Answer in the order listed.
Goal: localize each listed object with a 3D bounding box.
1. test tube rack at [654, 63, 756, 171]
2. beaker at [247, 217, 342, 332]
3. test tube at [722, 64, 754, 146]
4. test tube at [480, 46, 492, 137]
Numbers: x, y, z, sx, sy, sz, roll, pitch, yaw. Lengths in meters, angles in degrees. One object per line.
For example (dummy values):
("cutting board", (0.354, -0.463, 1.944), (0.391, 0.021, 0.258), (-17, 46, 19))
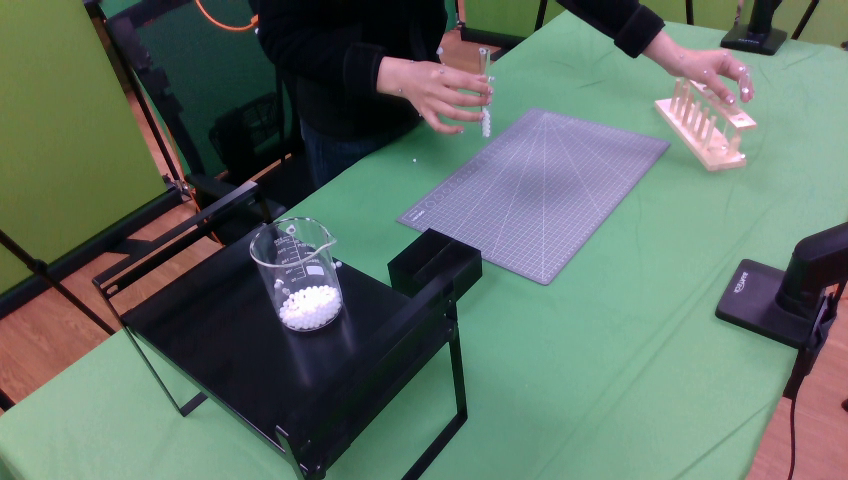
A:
("test tube rack", (0.511, -0.233, 1.120), (0.067, 0.085, 0.241), (-9, 41, -1))
("beaker", (-0.124, 0.037, 0.614), (0.084, 0.101, 0.073), (-7, 41, 0))
("test tube", (0.535, -0.227, 1.032), (0.017, 0.151, 0.017), (-2, 39, 2))
("test tube", (0.094, -0.221, 0.917), (0.017, 0.151, 0.017), (-4, 44, 4))
